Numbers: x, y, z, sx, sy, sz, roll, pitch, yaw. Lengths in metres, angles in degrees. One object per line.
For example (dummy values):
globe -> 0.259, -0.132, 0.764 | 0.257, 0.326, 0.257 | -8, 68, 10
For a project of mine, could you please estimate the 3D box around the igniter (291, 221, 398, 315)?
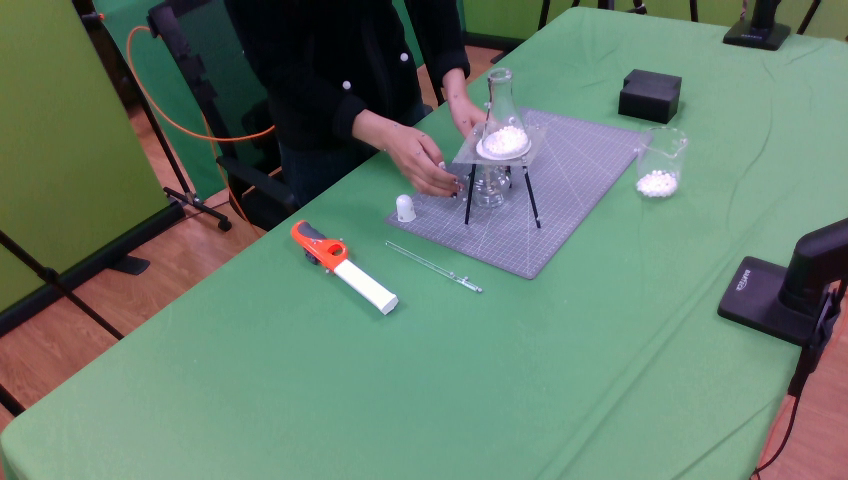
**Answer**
igniter -> -0.136, 0.037, 0.962 | 0.057, 0.025, 0.274 | -41, 48, -18

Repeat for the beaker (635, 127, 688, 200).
beaker -> 0.388, -0.122, 0.994 | 0.074, 0.101, 0.083 | -8, 40, 2

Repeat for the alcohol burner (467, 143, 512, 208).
alcohol burner -> 0.109, -0.114, 1.023 | 0.078, 0.120, 0.077 | -7, 40, 6

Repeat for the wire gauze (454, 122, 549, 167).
wire gauze -> 0.122, -0.149, 0.943 | 0.121, 0.011, 0.125 | 7, 44, 22

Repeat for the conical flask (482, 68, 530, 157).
conical flask -> 0.118, -0.192, 0.902 | 0.075, 0.122, 0.075 | -7, 39, 6

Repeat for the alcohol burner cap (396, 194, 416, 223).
alcohol burner cap -> -0.033, -0.056, 1.036 | 0.034, 0.048, 0.033 | -6, 40, 6

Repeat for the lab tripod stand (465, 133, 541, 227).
lab tripod stand -> 0.129, -0.099, 0.985 | 0.148, 0.132, 0.147 | -6, 38, 6

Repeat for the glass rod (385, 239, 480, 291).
glass rod -> 0.009, 0.036, 0.949 | 0.198, 0.008, 0.008 | 27, 52, 34
